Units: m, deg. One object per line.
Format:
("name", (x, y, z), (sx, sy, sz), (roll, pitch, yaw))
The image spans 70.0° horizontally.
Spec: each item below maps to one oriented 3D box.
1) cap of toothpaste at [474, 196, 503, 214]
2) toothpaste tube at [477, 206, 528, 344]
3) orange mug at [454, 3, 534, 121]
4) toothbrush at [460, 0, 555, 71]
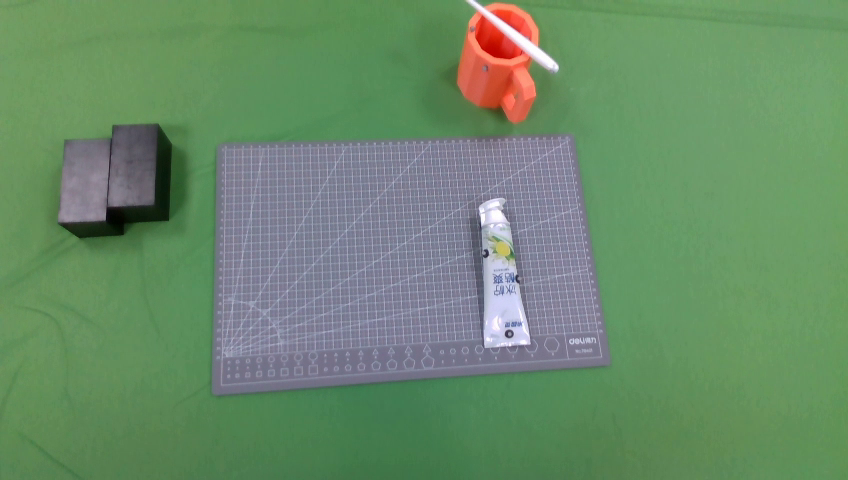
("cap of toothpaste", (0.079, -0.042, 0.732), (0.037, 0.037, 0.011), (-15, 72, -10))
("toothpaste tube", (0.085, 0.038, 0.715), (0.055, 0.034, 0.164), (-6, 78, 0))
("orange mug", (0.094, -0.216, 0.759), (0.083, 0.101, 0.125), (-24, 72, -12))
("toothbrush", (0.084, -0.258, 0.716), (0.181, 0.017, 0.014), (41, 71, 7))
